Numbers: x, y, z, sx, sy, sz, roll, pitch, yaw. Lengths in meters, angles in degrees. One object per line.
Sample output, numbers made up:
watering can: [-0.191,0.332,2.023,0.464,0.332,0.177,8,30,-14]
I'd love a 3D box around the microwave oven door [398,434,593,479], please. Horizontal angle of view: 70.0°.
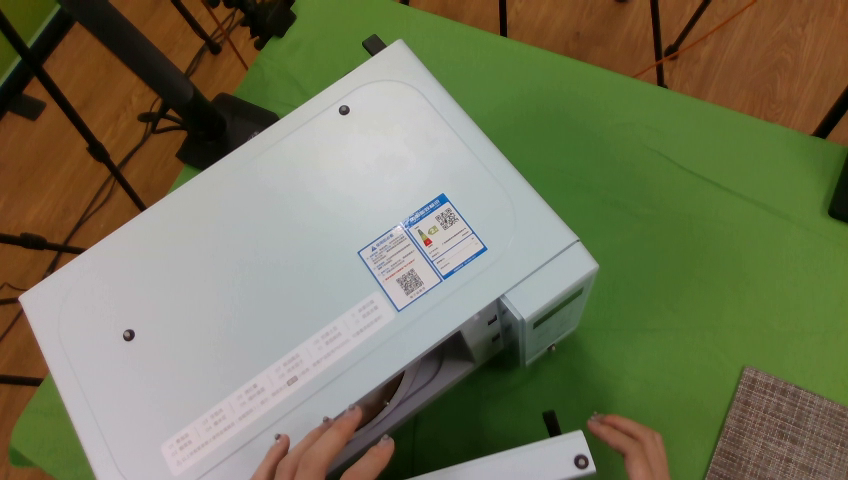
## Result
microwave oven door: [-0.031,0.239,0.560,0.356,0.245,0.039,-17,68,2]

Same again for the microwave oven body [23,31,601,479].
microwave oven body: [-0.100,0.062,0.642,0.441,0.262,0.323,-36,69,-4]

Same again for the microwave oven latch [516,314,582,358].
microwave oven latch: [0.143,0.101,0.693,0.079,0.030,0.030,-34,69,-3]
